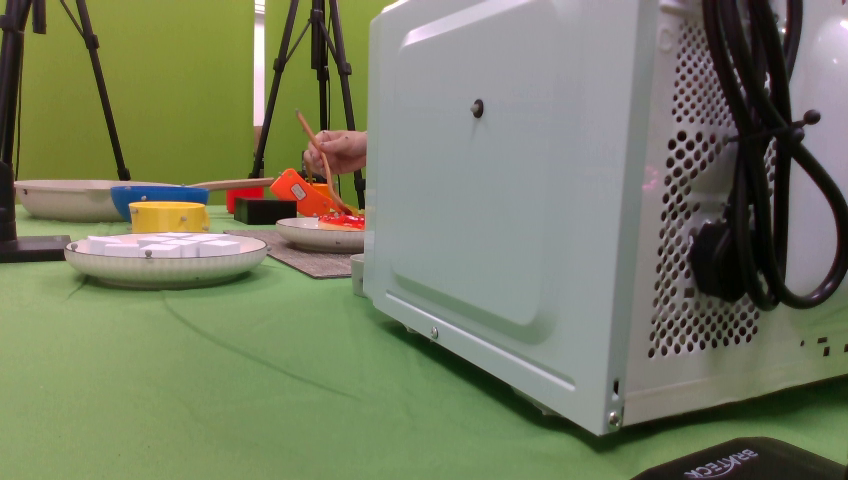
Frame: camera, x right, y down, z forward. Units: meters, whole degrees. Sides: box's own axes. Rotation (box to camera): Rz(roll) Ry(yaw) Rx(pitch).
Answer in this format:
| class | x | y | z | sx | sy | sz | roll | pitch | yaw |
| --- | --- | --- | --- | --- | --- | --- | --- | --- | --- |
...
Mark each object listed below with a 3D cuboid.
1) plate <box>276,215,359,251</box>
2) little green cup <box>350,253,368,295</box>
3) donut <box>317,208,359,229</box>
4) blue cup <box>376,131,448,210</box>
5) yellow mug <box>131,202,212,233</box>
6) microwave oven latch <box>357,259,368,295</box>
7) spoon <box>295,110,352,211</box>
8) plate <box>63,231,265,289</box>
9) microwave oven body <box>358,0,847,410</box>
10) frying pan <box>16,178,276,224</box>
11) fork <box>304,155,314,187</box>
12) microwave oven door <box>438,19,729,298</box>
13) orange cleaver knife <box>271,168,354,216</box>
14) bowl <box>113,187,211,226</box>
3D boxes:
| class | x | y | z | sx | sy | sz | roll | pitch | yaw |
| --- | --- | --- | --- | --- | --- | --- | --- | --- | --- |
| plate | -0.126 | -0.012 | 0.950 | 0.209 | 0.038 | 0.209 | 2 | 7 | 0 |
| little green cup | -0.048 | 0.035 | 0.632 | 0.061 | 0.038 | 0.061 | 3 | 6 | 0 |
| donut | -0.118 | -0.024 | 0.954 | 0.099 | 0.048 | 0.099 | 5 | 7 | 0 |
| blue cup | -0.014 | -0.104 | 0.967 | 0.092 | 0.100 | 0.092 | -35 | 1 | 1 |
| yellow mug | -0.356 | -0.020 | 0.878 | 0.099 | 0.064 | 0.131 | 5 | 7 | 21 |
| microwave oven latch | -0.019 | 0.031 | 0.529 | 0.079 | 0.029 | 0.030 | -1 | 7 | -26 |
| spoon | -0.163 | -0.129 | 0.973 | 0.021 | 0.193 | 0.042 | -26 | -11 | 5 |
| plate | -0.288 | 0.021 | 0.687 | 0.208 | 0.039 | 0.207 | 2 | 8 | 0 |
| microwave oven body | 0.210 | -0.051 | 0.471 | 0.444 | 0.260 | 0.324 | -1 | 7 | -28 |
| frying pan | -0.554 | -0.097 | 1.266 | 0.490 | 0.102 | 0.305 | -10 | 13 | -24 |
| fork | -0.268 | -0.134 | 1.446 | 0.028 | 0.018 | 0.207 | 1 | -36 | -1 |
| microwave oven door | 0.181 | -0.076 | 0.618 | 0.358 | 0.243 | 0.039 | -2 | 8 | -28 |
| orange cleaver knife | -0.237 | -0.084 | 1.332 | 0.212 | 0.077 | 0.012 | 31 | -9 | -31 |
| bowl | -0.436 | -0.046 | 1.013 | 0.151 | 0.077 | 0.151 | 2 | 7 | 0 |
